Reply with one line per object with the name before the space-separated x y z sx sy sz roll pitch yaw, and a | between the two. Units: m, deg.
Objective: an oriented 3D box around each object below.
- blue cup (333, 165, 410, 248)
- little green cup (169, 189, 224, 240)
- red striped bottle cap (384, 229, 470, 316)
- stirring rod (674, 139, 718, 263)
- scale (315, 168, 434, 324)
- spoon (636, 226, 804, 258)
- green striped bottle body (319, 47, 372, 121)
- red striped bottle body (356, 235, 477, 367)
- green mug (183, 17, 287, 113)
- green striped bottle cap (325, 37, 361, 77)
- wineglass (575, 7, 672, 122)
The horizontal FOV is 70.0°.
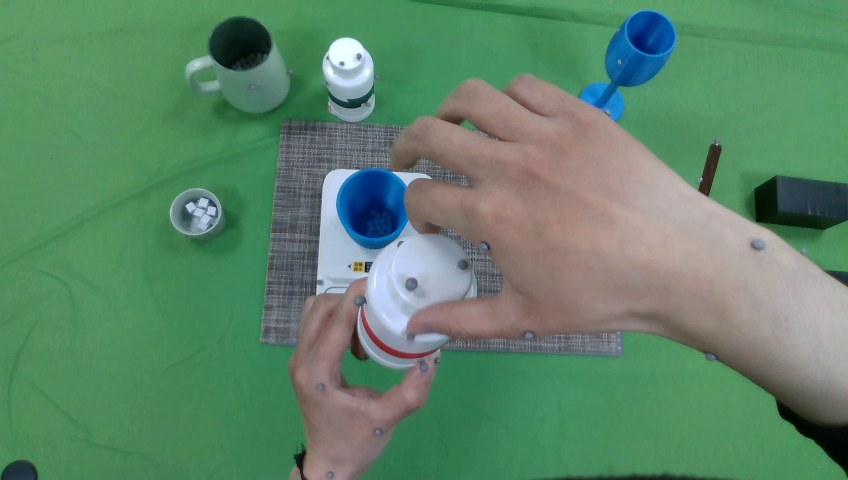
blue cup | -0.062 -0.031 0.715 0.093 0.100 0.092 1 77 -6
little green cup | -0.284 -0.030 0.766 0.061 0.039 0.061 1 76 -5
red striped bottle cap | 0.002 0.017 0.317 0.044 0.018 0.044 3 71 -9
stirring rod | 0.338 -0.043 0.758 0.014 0.177 0.006 7 35 11
scale | -0.061 0.006 0.773 0.149 0.031 0.200 1 76 -3
spoon | 0.356 0.008 0.746 0.022 0.192 0.041 24 79 -43
green striped bottle body | -0.100 -0.208 0.782 0.063 0.119 0.063 1 75 -3
red striped bottle body | -0.007 0.037 0.367 0.063 0.120 0.062 4 68 -9
green mug | -0.245 -0.219 0.782 0.125 0.105 0.092 -20 78 -8
green striped bottle cap | -0.098 -0.222 0.732 0.044 0.020 0.044 1 74 -4
wineglass | 0.252 -0.220 0.783 0.074 0.173 0.073 1 75 -3
